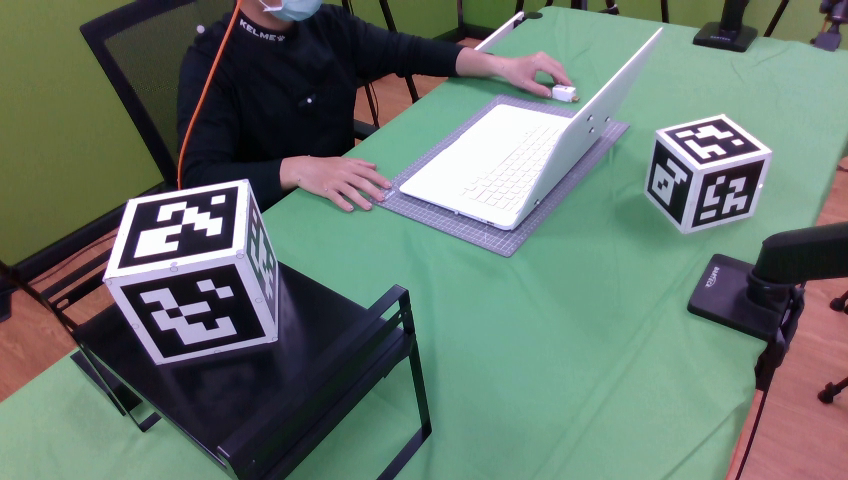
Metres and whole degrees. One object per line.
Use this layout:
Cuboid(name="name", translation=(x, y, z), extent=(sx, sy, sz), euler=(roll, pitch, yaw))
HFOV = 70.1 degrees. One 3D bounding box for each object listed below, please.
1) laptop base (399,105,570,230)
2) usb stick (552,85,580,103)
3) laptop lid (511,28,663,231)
Cuboid(name="laptop base", translation=(0.149, -0.147, 1.123), extent=(0.233, 0.023, 0.355), euler=(20, 47, 32))
Cuboid(name="usb stick", translation=(0.303, -0.308, 1.282), extent=(0.059, 0.027, 0.021), euler=(25, 46, 29))
Cuboid(name="laptop lid", translation=(0.265, -0.179, 0.972), extent=(0.013, 0.242, 0.357), euler=(36, 53, 14))
